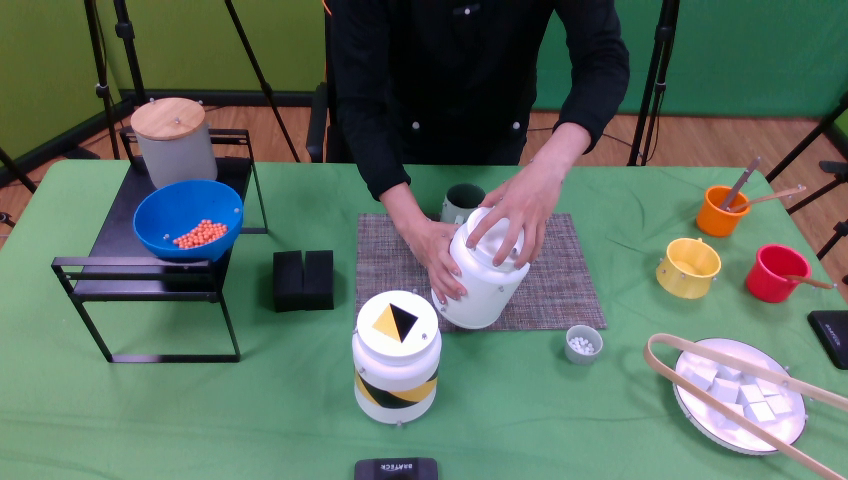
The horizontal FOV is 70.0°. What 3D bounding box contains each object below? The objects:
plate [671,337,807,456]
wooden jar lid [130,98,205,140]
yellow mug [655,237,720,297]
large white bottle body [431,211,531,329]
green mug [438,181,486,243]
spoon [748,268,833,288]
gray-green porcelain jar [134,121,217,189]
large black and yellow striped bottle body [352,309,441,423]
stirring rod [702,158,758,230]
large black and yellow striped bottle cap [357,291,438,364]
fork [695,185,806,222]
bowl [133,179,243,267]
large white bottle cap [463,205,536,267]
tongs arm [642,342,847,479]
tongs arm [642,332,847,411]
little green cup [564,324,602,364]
[{"bbox_3d":[0.504,0.254,0.984,0.208,0.039,0.206,2,46,-2],"label":"plate"},{"bbox_3d":[-0.393,-0.183,0.934,0.108,0.021,0.107,2,44,-2],"label":"wooden jar lid"},{"bbox_3d":[0.509,0.041,1.167,0.099,0.064,0.130,24,48,18],"label":"yellow mug"},{"bbox_3d":[0.095,0.046,0.993,0.131,0.185,0.130,10,49,-11],"label":"large white bottle body"},{"bbox_3d":[0.072,-0.039,1.178,0.092,0.105,0.124,12,47,7],"label":"green mug"},{"bbox_3d":[0.660,0.068,1.097,0.041,0.193,0.021,-4,91,-6],"label":"spoon"},{"bbox_3d":[-0.397,-0.141,0.979,0.106,0.127,0.105,2,47,-2],"label":"gray-green porcelain jar"},{"bbox_3d":[-0.042,0.178,0.912,0.131,0.185,0.130,2,46,-2],"label":"large black and yellow striped bottle body"},{"bbox_3d":[0.634,-0.096,1.257,0.014,0.006,0.176,38,97,29],"label":"stirring rod"},{"bbox_3d":[-0.037,0.121,0.851,0.115,0.019,0.114,1,46,-1],"label":"large black and yellow striped bottle cap"},{"bbox_3d":[0.658,-0.074,1.229,0.207,0.019,0.028,-23,36,37],"label":"fork"},{"bbox_3d":[-0.339,-0.013,0.895,0.151,0.077,0.150,2,46,-2],"label":"bowl"},{"bbox_3d":[0.117,-0.007,0.931,0.115,0.018,0.114,10,48,-11],"label":"large white bottle cap"},{"bbox_3d":[0.504,0.278,0.918,0.386,0.028,0.028,33,59,22],"label":"tongs arm"},{"bbox_3d":[0.546,0.227,0.968,0.384,0.026,0.050,22,52,13],"label":"tongs arm"},{"bbox_3d":[0.269,0.179,1.035,0.061,0.039,0.061,2,45,-2],"label":"little green cup"}]
